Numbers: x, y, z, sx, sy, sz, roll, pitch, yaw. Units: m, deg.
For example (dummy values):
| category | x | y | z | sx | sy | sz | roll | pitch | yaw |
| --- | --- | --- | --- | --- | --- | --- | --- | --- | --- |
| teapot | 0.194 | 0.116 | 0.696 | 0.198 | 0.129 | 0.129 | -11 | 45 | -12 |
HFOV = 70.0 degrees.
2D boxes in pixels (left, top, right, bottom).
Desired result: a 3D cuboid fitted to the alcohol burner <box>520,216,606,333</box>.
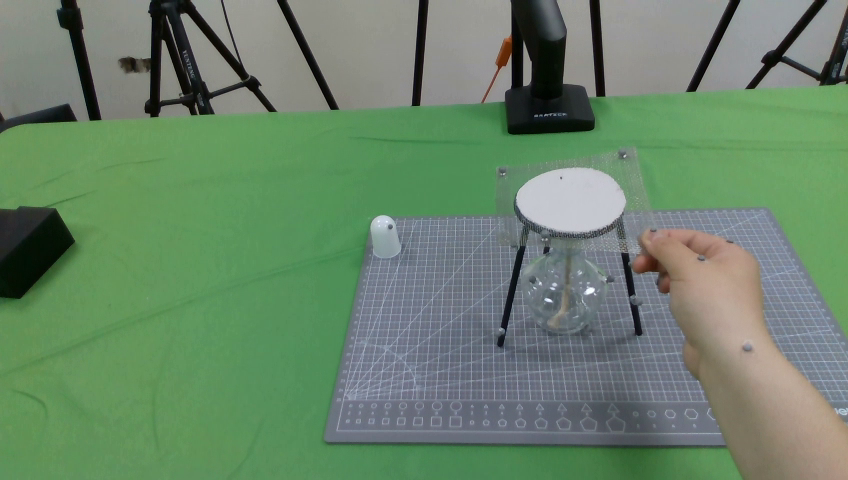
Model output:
| category | x | y | z | sx | sy | sz | roll | pitch | yaw |
| --- | --- | --- | --- | --- | --- | --- | --- | --- | --- |
| alcohol burner | 0.126 | 0.026 | 0.544 | 0.078 | 0.120 | 0.077 | -2 | 40 | 2 |

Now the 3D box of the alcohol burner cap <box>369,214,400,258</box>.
| category | x | y | z | sx | sy | sz | roll | pitch | yaw |
| --- | --- | --- | --- | --- | --- | --- | --- | --- | --- |
| alcohol burner cap | -0.044 | -0.007 | 0.661 | 0.034 | 0.048 | 0.033 | -3 | 41 | 3 |

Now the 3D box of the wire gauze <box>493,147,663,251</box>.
| category | x | y | z | sx | sy | sz | roll | pitch | yaw |
| --- | --- | --- | --- | --- | --- | --- | --- | --- | --- |
| wire gauze | 0.119 | -0.034 | 0.492 | 0.125 | 0.011 | 0.120 | -3 | 42 | 9 |

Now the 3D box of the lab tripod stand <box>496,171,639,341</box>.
| category | x | y | z | sx | sy | sz | roll | pitch | yaw |
| --- | --- | --- | --- | --- | --- | --- | --- | --- | --- |
| lab tripod stand | 0.127 | 0.017 | 0.540 | 0.148 | 0.133 | 0.147 | -2 | 39 | 2 |
